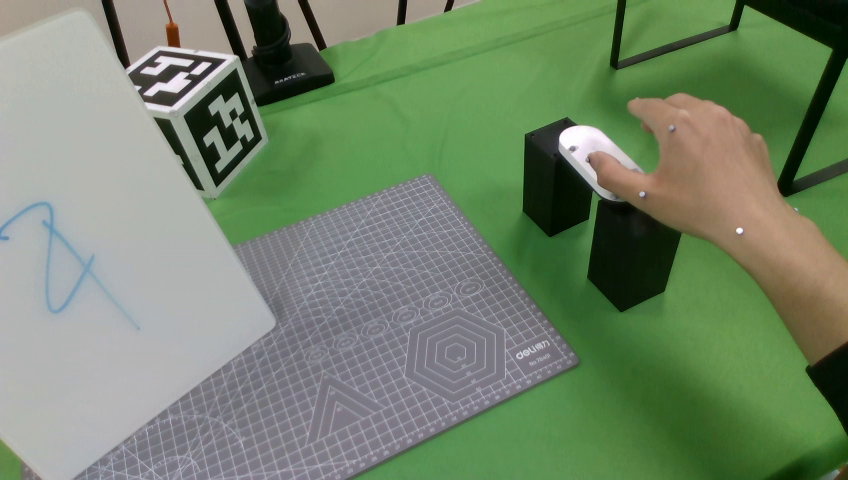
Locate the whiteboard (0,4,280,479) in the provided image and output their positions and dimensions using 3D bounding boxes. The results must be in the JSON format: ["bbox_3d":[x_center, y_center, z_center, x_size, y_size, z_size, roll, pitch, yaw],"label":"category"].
[{"bbox_3d":[-0.303,0.004,0.497,0.217,0.308,0.142,-39,34,-26],"label":"whiteboard"}]

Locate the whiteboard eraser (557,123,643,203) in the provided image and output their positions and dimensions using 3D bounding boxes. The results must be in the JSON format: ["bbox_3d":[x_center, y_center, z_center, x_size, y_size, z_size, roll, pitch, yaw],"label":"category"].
[{"bbox_3d":[0.152,-0.070,0.530,0.041,0.019,0.100,-18,47,-12],"label":"whiteboard eraser"}]
